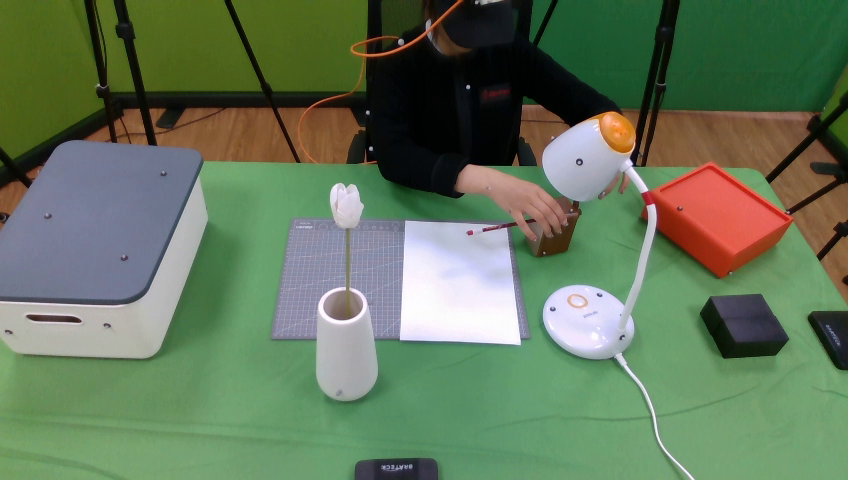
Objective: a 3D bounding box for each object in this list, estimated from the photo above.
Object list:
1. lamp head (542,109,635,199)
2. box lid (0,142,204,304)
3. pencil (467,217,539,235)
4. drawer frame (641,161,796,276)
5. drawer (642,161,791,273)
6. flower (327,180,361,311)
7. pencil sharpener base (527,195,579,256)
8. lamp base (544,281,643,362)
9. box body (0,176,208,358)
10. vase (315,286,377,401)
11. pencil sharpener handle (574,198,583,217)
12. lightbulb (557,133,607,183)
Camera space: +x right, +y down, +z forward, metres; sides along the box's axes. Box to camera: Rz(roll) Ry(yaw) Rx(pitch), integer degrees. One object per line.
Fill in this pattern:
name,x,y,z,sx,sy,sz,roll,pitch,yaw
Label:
lamp head,0.253,-0.131,0.893,0.113,0.123,0.112,10,66,-24
box lid,-0.534,-0.044,0.994,0.263,0.015,0.369,3,45,-3
pencil,0.173,-0.032,1.143,0.194,0.012,0.012,-11,48,-12
drawer frame,0.599,-0.051,1.244,0.202,0.083,0.212,-24,53,-25
drawer,0.596,-0.052,1.245,0.194,0.073,0.210,-23,52,-25
flower,-0.110,0.086,0.867,0.044,0.363,0.038,22,34,36
pencil sharpener base,0.252,-0.028,1.181,0.077,0.107,0.061,-11,47,-14
lamp base,0.303,0.095,1.014,0.161,0.181,0.178,-24,54,-24
box body,-0.546,0.017,1.045,0.254,0.161,0.361,2,46,-2
vase,-0.119,0.159,0.911,0.098,0.201,0.097,2,47,-2
pencil sharpener handle,0.302,-0.069,1.165,0.031,0.068,0.035,-11,38,-14
lightbulb,0.242,-0.127,0.916,0.059,0.108,0.059,5,67,-13
